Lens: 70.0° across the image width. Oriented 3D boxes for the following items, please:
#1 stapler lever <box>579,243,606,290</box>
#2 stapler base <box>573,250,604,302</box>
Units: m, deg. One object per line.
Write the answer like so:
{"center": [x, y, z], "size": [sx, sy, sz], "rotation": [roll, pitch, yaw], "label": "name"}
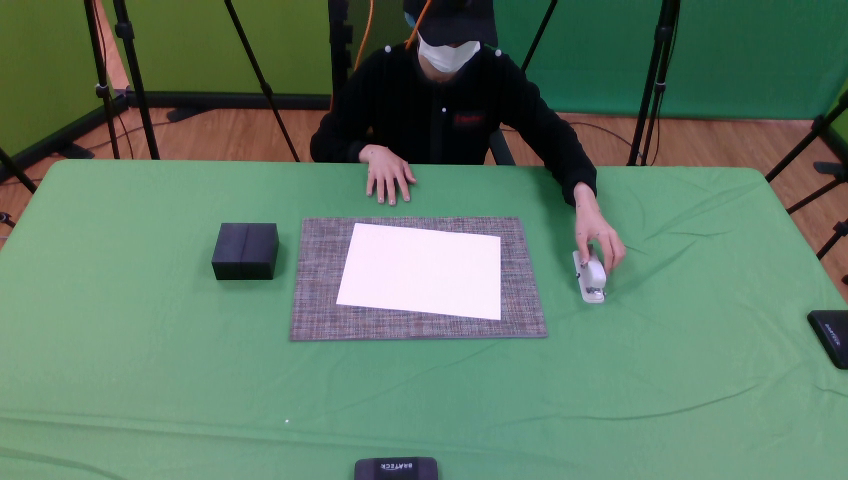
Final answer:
{"center": [0.318, 0.044, 1.144], "size": [0.027, 0.040, 0.117], "rotation": [3, 45, -3], "label": "stapler lever"}
{"center": [0.317, 0.062, 1.161], "size": [0.041, 0.024, 0.130], "rotation": [4, 44, -3], "label": "stapler base"}
